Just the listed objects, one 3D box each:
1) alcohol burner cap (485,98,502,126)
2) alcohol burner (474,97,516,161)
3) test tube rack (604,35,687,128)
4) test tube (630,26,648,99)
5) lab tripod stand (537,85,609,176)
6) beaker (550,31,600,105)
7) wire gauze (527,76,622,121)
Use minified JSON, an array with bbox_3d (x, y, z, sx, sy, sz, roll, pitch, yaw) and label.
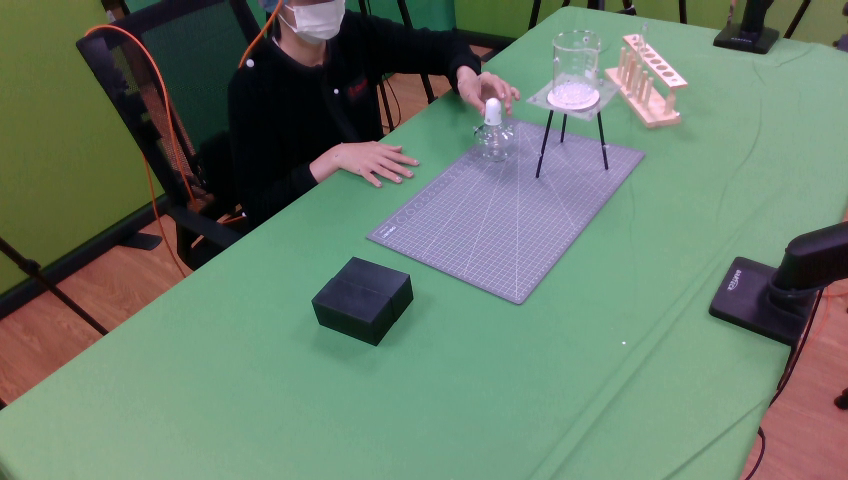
[{"bbox_3d":[0.126,-0.234,1.097,0.034,0.048,0.033,-3,39,3],"label":"alcohol burner cap"},{"bbox_3d":[0.131,-0.208,1.121,0.078,0.119,0.077,-6,40,5],"label":"alcohol burner"},{"bbox_3d":[0.447,-0.330,1.241,0.067,0.085,0.241,-9,41,-2],"label":"test tube rack"},{"bbox_3d":[0.426,-0.350,1.199,0.017,0.151,0.017,-4,42,4],"label":"test tube"},{"bbox_3d":[0.259,-0.192,1.068,0.148,0.132,0.147,-4,43,4],"label":"lab tripod stand"},{"bbox_3d":[0.250,-0.281,0.996,0.074,0.101,0.083,-37,49,-27],"label":"beaker"},{"bbox_3d":[0.255,-0.247,1.030,0.124,0.011,0.122,23,49,34],"label":"wire gauze"}]
